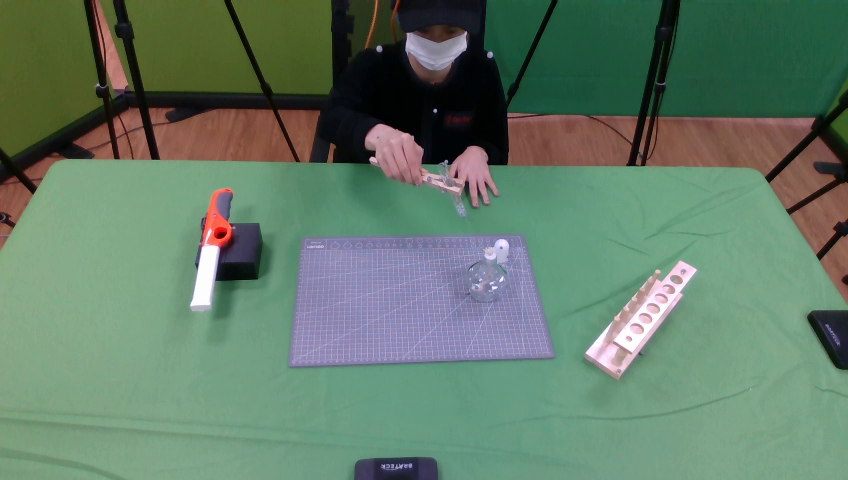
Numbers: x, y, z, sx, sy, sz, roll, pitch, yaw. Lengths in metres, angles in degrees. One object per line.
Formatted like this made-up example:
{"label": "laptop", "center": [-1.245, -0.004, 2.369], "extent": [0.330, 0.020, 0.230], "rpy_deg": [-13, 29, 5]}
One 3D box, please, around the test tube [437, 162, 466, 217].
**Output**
{"label": "test tube", "center": [0.048, -0.080, 1.005], "extent": [0.017, 0.151, 0.017], "rpy_deg": [-8, 59, 14]}

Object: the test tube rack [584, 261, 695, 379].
{"label": "test tube rack", "center": [0.380, 0.127, 1.062], "extent": [0.066, 0.085, 0.242], "rpy_deg": [34, 53, 26]}

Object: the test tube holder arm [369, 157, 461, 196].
{"label": "test tube holder arm", "center": [-0.018, -0.108, 1.013], "extent": [0.178, 0.015, 0.013], "rpy_deg": [20, 68, 23]}

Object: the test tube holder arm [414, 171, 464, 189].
{"label": "test tube holder arm", "center": [0.024, -0.100, 0.998], "extent": [0.087, 0.015, 0.010], "rpy_deg": [12, 66, 20]}

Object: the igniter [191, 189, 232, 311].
{"label": "igniter", "center": [-0.381, 0.008, 1.092], "extent": [0.057, 0.025, 0.274], "rpy_deg": [-1, 50, -7]}

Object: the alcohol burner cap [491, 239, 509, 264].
{"label": "alcohol burner cap", "center": [0.150, 0.020, 1.174], "extent": [0.034, 0.048, 0.033], "rpy_deg": [2, 46, -2]}

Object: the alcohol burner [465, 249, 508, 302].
{"label": "alcohol burner", "center": [0.114, 0.057, 1.085], "extent": [0.078, 0.120, 0.077], "rpy_deg": [2, 48, -2]}
